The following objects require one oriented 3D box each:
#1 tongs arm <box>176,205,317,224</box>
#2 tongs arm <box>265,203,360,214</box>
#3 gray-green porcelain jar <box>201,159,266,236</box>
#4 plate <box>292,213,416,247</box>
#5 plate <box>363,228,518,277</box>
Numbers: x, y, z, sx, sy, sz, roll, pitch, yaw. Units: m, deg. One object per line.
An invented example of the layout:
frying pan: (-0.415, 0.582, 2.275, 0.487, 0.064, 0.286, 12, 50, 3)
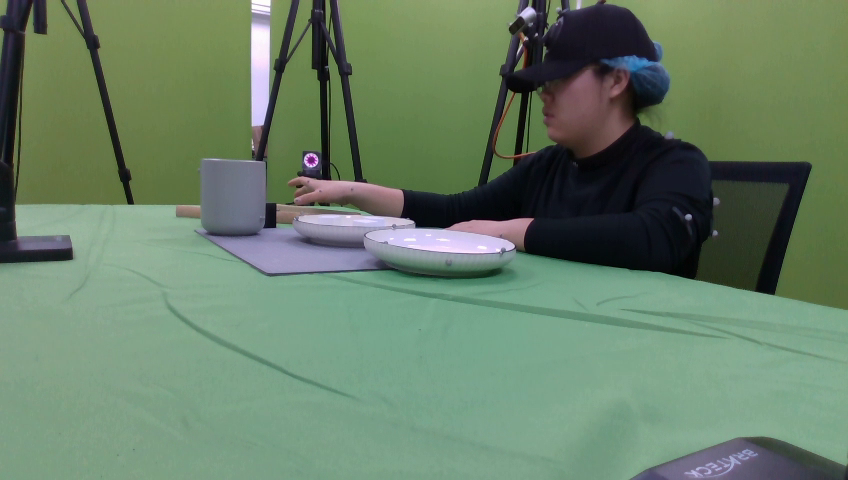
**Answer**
tongs arm: (-0.333, -0.051, 1.273, 0.387, 0.028, 0.028, 4, 5, 4)
tongs arm: (-0.313, -0.064, 1.352, 0.384, 0.026, 0.051, 6, 9, 17)
gray-green porcelain jar: (-0.326, -0.073, 1.035, 0.106, 0.126, 0.106, 3, 8, 0)
plate: (-0.118, -0.017, 1.024, 0.208, 0.039, 0.207, 3, 8, 0)
plate: (0.021, 0.016, 0.817, 0.209, 0.038, 0.209, 4, 9, 0)
